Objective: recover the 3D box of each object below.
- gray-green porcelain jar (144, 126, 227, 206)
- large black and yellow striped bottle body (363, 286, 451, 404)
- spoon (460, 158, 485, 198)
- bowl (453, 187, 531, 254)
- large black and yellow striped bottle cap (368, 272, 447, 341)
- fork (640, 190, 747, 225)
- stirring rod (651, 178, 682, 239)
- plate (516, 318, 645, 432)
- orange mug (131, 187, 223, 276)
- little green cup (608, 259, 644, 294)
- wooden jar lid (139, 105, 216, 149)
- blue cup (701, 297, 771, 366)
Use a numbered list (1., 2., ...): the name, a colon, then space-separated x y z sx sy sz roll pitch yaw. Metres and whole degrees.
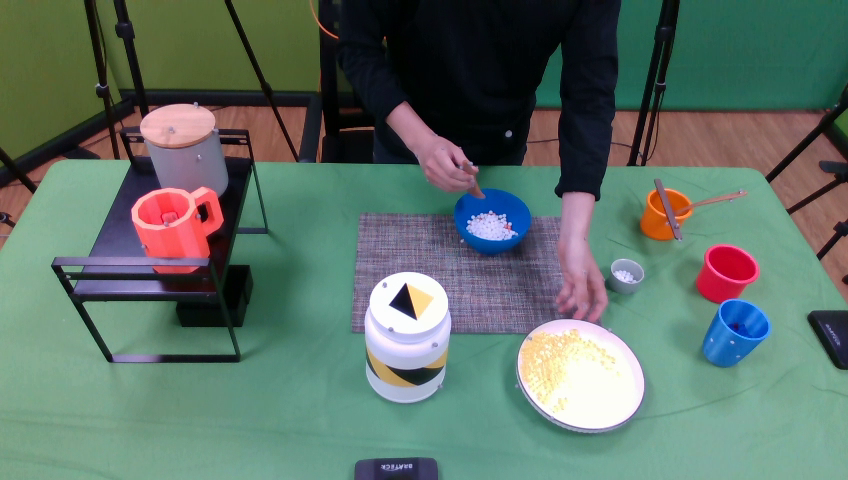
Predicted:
1. gray-green porcelain jar: -0.375 -0.126 0.967 0.106 0.127 0.105 2 46 -2
2. large black and yellow striped bottle body: -0.027 0.153 0.935 0.131 0.185 0.130 2 46 -2
3. spoon: 0.081 -0.109 1.058 0.041 0.194 0.021 31 82 17
4. bowl: 0.128 -0.025 1.187 0.151 0.077 0.150 2 46 -2
5. large black and yellow striped bottle cap: -0.023 0.093 0.875 0.115 0.019 0.114 3 46 -3
6. fork: 0.533 -0.065 1.211 0.207 0.019 0.028 -22 28 38
7. stirring rod: 0.480 -0.065 1.204 0.014 0.006 0.175 3 46 -4
8. plate: 0.253 0.221 0.992 0.209 0.038 0.208 2 46 -2
9. orange mug: -0.354 -0.022 0.888 0.083 0.101 0.126 31 55 24
10. little green cup: 0.379 0.070 1.147 0.061 0.039 0.061 2 45 -2
11. wooden jar lid: -0.372 -0.169 0.920 0.108 0.021 0.107 4 44 -4
12. blue cup: 0.519 0.162 1.025 0.093 0.101 0.092 3 45 -3
